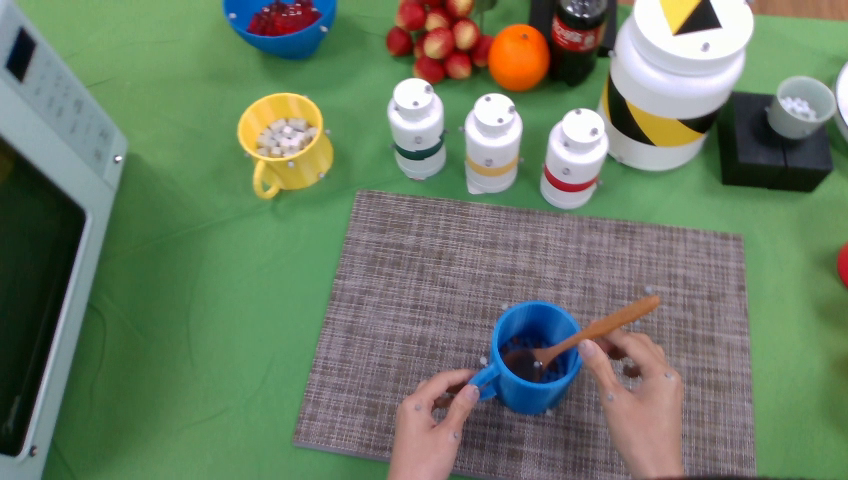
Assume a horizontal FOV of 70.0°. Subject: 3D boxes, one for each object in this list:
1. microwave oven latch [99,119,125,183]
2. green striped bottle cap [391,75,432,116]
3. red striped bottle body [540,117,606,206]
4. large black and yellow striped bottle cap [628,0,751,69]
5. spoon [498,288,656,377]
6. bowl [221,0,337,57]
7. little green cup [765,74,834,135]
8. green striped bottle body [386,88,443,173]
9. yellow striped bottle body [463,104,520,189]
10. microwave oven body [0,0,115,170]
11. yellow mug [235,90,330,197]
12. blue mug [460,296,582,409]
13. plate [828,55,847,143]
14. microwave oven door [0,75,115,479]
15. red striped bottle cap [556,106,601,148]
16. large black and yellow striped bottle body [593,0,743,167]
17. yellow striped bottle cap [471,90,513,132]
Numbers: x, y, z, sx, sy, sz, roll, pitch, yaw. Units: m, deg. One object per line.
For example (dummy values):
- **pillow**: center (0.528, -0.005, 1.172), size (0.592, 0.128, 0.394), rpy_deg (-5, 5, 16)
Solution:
- **microwave oven latch**: center (-0.389, -0.108, 0.740), size (0.030, 0.030, 0.078), rpy_deg (0, 65, 3)
- **green striped bottle cap**: center (-0.014, -0.158, 0.660), size (0.044, 0.020, 0.044), rpy_deg (-1, 62, 3)
- **red striped bottle body**: center (0.165, -0.094, 0.676), size (0.063, 0.121, 0.062), rpy_deg (-2, 62, 5)
- **large black and yellow striped bottle cap**: center (0.263, -0.219, 0.602), size (0.115, 0.019, 0.114), rpy_deg (-1, 63, 3)
- **spoon**: center (0.127, 0.089, 0.544), size (0.022, 0.194, 0.041), rpy_deg (0, 62, -36)
- **bowl**: center (-0.186, -0.305, 0.823), size (0.151, 0.077, 0.150), rpy_deg (-1, 64, 2)
- **little green cup**: center (0.416, -0.149, 0.678), size (0.061, 0.039, 0.061), rpy_deg (0, 62, 0)
- **green striped bottle body**: center (-0.010, -0.135, 0.706), size (0.063, 0.120, 0.062), rpy_deg (-1, 64, 3)
- **yellow striped bottle body**: center (0.076, -0.115, 0.691), size (0.063, 0.121, 0.062), rpy_deg (-2, 63, 4)
- **microwave oven body**: center (-0.544, 0.010, 0.583), size (0.326, 0.262, 0.438), rpy_deg (-1, 64, 2)
- **yellow mug**: center (-0.176, -0.111, 0.734), size (0.099, 0.064, 0.130), rpy_deg (16, 67, 11)
- **blue mug**: center (0.087, 0.118, 0.581), size (0.116, 0.107, 0.081), rpy_deg (-26, 65, -9)
- **plate**: center (0.590, -0.152, 0.726), size (0.209, 0.038, 0.207), rpy_deg (-1, 64, 3)
- **microwave oven door**: center (-0.398, 0.043, 0.553), size (0.039, 0.246, 0.353), rpy_deg (-1, 64, 3)
- **red striped bottle cap**: center (0.161, -0.118, 0.629), size (0.044, 0.018, 0.044), rpy_deg (0, 63, -1)
- **large black and yellow striped bottle body**: center (0.269, -0.183, 0.678), size (0.131, 0.185, 0.129), rpy_deg (-1, 64, 3)
- **yellow striped bottle cap**: center (0.073, -0.138, 0.645), size (0.044, 0.019, 0.044), rpy_deg (-1, 65, 3)
